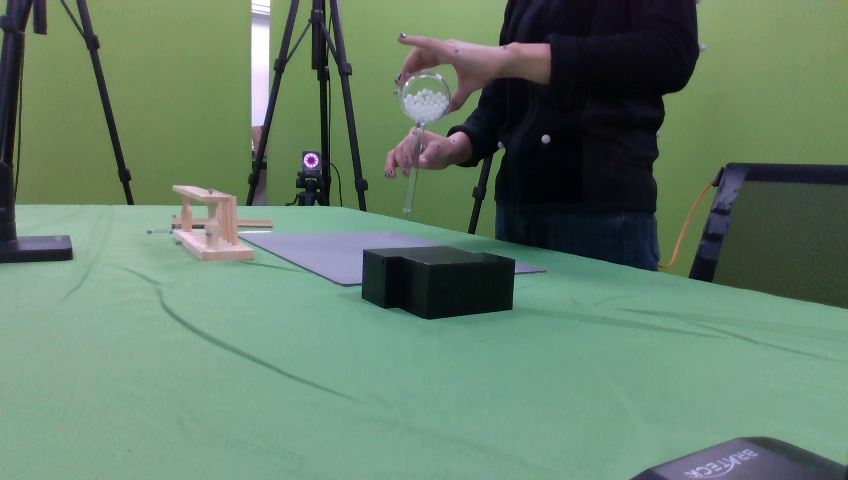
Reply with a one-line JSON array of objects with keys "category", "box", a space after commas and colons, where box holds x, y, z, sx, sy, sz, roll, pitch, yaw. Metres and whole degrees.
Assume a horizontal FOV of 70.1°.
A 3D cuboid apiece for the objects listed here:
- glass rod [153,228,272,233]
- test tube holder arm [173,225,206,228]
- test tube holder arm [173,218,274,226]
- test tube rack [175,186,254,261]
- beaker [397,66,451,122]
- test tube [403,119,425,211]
[{"category": "glass rod", "box": [-0.368, -0.017, 1.065, 0.201, 0.008, 0.008, -2, 8, -27]}, {"category": "test tube holder arm", "box": [-0.414, -0.030, 1.113, 0.088, 0.015, 0.010, -1, -21, -25]}, {"category": "test tube holder arm", "box": [-0.371, -0.033, 1.128, 0.179, 0.015, 0.013, -1, -21, -25]}, {"category": "test tube rack", "box": [-0.314, -0.031, 0.889, 0.067, 0.085, 0.241, -2, 8, -30]}, {"category": "beaker", "box": [-0.001, -0.209, 0.876, 0.074, 0.084, 0.100, -2, 17, -5]}, {"category": "test tube", "box": [-0.016, -0.117, 0.957, 0.017, 0.150, 0.017, 8, 22, -3]}]
